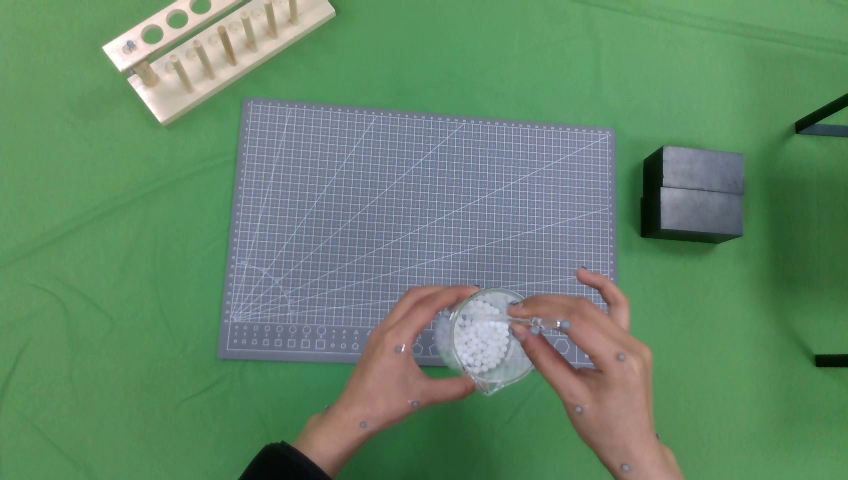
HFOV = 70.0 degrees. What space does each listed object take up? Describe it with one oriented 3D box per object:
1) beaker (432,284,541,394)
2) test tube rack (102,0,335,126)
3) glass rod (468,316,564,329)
[{"bbox_3d":[0.047,0.083,0.507,0.074,0.100,0.083,11,80,-6],"label":"beaker"},{"bbox_3d":[-0.218,-0.235,0.675,0.242,0.085,0.066,-37,85,-12],"label":"test tube rack"},{"bbox_3d":[0.061,0.061,0.452,0.008,0.199,0.008,1,83,-11],"label":"glass rod"}]
